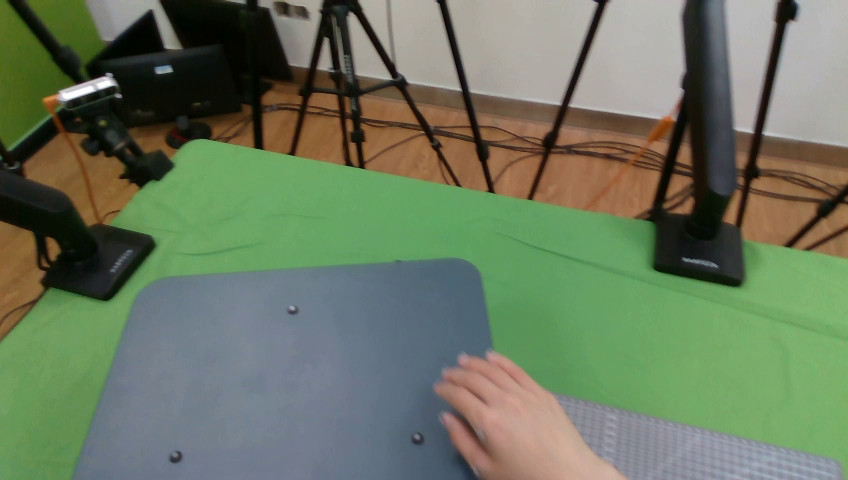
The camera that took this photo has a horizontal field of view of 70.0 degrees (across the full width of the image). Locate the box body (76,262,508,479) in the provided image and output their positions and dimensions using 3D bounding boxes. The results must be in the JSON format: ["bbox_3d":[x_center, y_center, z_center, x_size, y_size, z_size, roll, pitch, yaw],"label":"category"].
[{"bbox_3d":[-0.110,0.177,0.627,0.364,0.162,0.251,-4,46,-1],"label":"box body"}]

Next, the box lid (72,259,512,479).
[{"bbox_3d":[-0.111,0.125,0.573,0.372,0.015,0.260,-3,46,-1],"label":"box lid"}]
